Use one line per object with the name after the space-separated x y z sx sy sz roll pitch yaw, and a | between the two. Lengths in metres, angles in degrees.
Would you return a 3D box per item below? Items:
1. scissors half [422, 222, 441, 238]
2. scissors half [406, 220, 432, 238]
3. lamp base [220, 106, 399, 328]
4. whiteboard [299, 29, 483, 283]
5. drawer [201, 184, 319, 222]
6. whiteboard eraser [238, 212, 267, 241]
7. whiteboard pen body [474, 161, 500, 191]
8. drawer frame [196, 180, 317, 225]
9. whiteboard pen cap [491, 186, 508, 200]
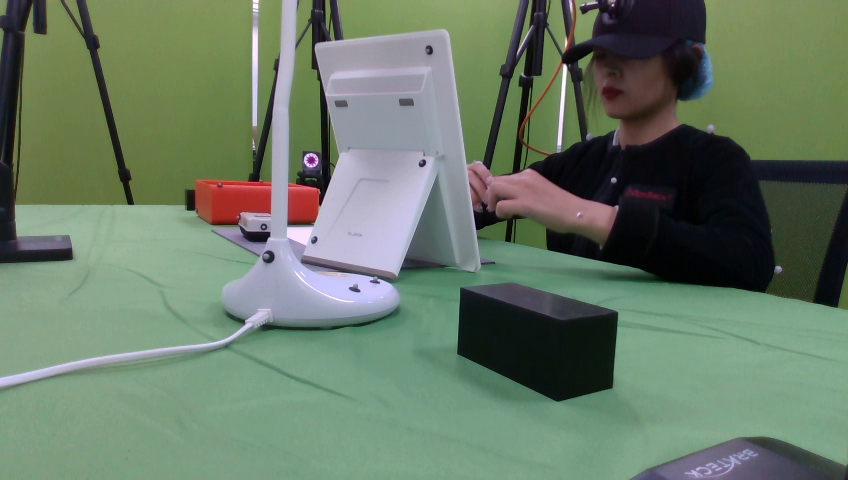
0.013 -0.018 1.217 0.040 0.013 0.175 14 9 1 | scissors half
-0.006 -0.022 1.214 0.040 0.013 0.174 6 10 -15 | scissors half
-0.102 -0.023 0.531 0.160 0.180 0.179 4 10 10 | lamp base
-0.074 -0.082 0.742 0.216 0.305 0.144 9 29 38 | whiteboard
-0.353 -0.082 1.295 0.213 0.073 0.193 -2 9 -28 | drawer
-0.272 -0.023 0.998 0.056 0.042 0.112 -2 9 -24 | whiteboard eraser
0.098 -0.092 0.920 0.017 0.017 0.140 1 26 -11 | whiteboard pen body
-0.359 -0.083 1.292 0.215 0.082 0.200 -2 10 -30 | drawer frame
0.107 -0.068 0.867 0.018 0.018 0.033 1 16 -12 | whiteboard pen cap
